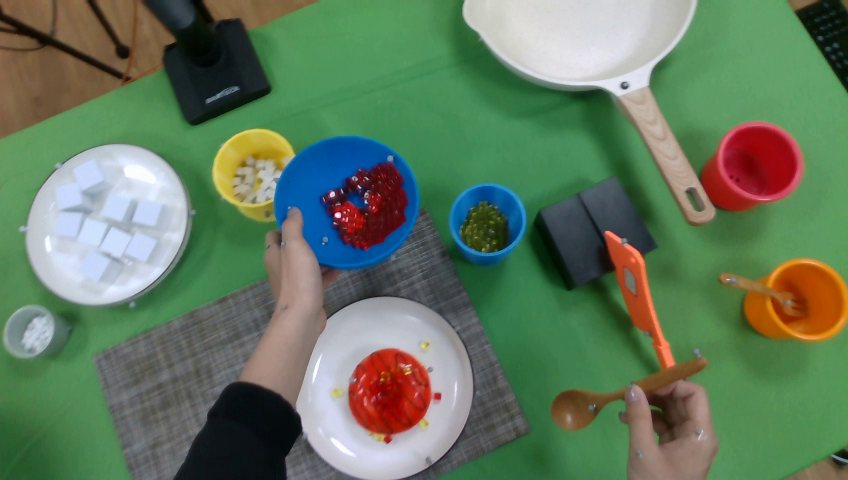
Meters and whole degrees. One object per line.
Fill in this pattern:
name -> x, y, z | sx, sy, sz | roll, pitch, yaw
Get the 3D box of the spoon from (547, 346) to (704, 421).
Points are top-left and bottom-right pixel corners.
spoon -> 0.183, 0.137, 0.571 | 0.022, 0.194, 0.041 | -16, 73, -34

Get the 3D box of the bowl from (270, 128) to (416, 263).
bowl -> -0.084, -0.037, 0.659 | 0.151, 0.077, 0.150 | 1, 70, -2

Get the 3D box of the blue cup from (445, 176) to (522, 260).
blue cup -> 0.067, -0.017, 0.712 | 0.092, 0.100, 0.092 | 0, 76, 2

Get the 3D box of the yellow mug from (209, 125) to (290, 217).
yellow mug -> -0.193, -0.078, 0.753 | 0.130, 0.064, 0.099 | 27, 81, 7

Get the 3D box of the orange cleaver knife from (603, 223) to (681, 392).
orange cleaver knife -> 0.249, 0.078, 0.695 | 0.012, 0.076, 0.212 | -25, 107, -3

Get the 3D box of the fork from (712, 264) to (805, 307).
fork -> 0.370, 0.049, 0.662 | 0.209, 0.018, 0.028 | 15, 75, -39

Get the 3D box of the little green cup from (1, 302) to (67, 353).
little green cup -> -0.472, 0.107, 0.737 | 0.061, 0.039, 0.061 | 0, 78, 1

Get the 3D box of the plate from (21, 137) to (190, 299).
plate -> -0.394, -0.027, 0.765 | 0.207, 0.039, 0.206 | 0, 78, 2

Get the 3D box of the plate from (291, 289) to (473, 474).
plate -> -0.048, 0.162, 0.708 | 0.209, 0.038, 0.208 | 0, 79, 2

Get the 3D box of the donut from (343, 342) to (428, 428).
donut -> -0.044, 0.166, 0.695 | 0.099, 0.048, 0.098 | 0, 81, 1

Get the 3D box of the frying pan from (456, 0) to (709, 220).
frying pan -> 0.221, -0.238, 0.751 | 0.307, 0.103, 0.484 | -20, 70, -1
